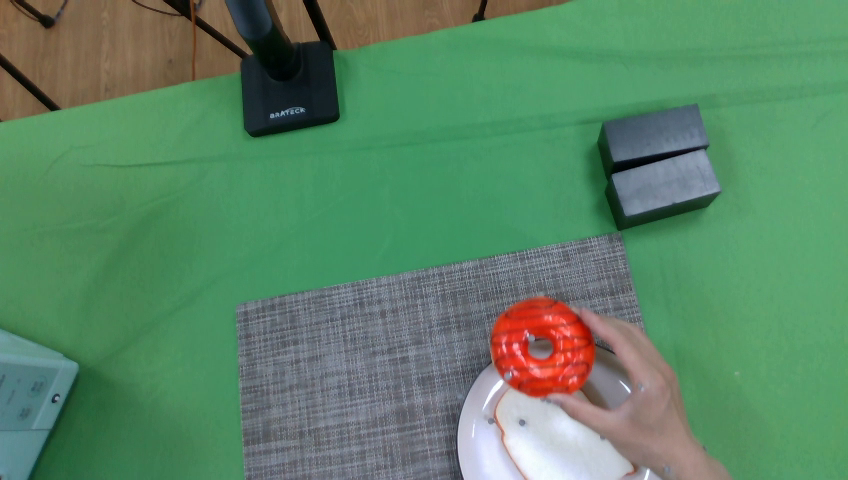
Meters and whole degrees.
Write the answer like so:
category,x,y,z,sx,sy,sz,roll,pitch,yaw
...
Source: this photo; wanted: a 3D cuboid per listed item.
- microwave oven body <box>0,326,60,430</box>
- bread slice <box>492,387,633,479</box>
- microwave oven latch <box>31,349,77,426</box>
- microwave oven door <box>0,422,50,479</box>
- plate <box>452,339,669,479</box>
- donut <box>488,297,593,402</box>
category,x,y,z,sx,sy,sz,roll,pitch,yaw
microwave oven body,-0.635,0.260,0.586,0.325,0.262,0.440,17,78,12
bread slice,0.129,0.197,0.609,0.105,0.019,0.130,-31,73,-1
microwave oven latch,-0.424,0.166,0.682,0.030,0.030,0.079,19,79,13
microwave oven door,-0.514,0.339,0.541,0.039,0.245,0.354,17,78,13
plate,0.132,0.203,0.606,0.207,0.039,0.206,-2,75,8
donut,0.109,0.103,0.572,0.099,0.048,0.098,-3,71,9
